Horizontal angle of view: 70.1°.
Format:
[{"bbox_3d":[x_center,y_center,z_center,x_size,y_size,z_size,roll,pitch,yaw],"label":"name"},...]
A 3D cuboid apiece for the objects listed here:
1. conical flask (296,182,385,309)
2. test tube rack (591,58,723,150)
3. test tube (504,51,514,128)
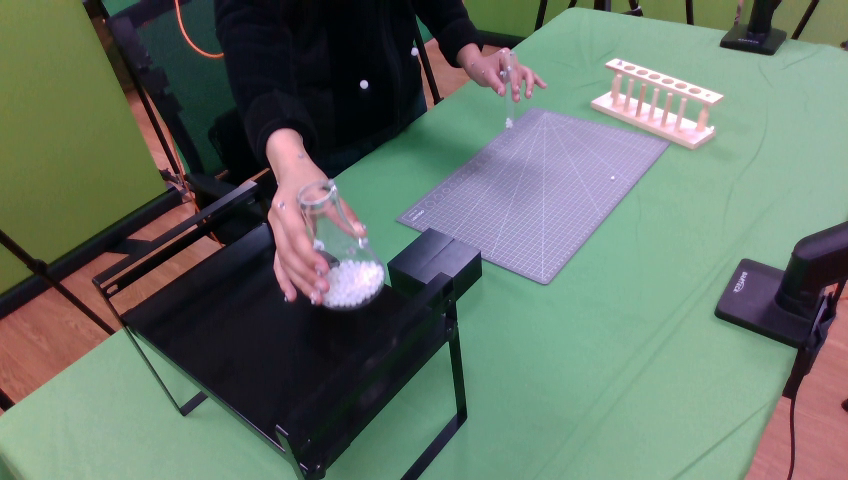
[{"bbox_3d":[-0.086,0.003,0.581,0.075,0.122,0.075,-8,41,8],"label":"conical flask"},{"bbox_3d":[0.442,-0.269,1.171,0.067,0.085,0.240,-30,46,-24],"label":"test tube rack"},{"bbox_3d":[0.145,-0.252,1.028,0.017,0.151,0.017,-4,50,5],"label":"test tube"}]
